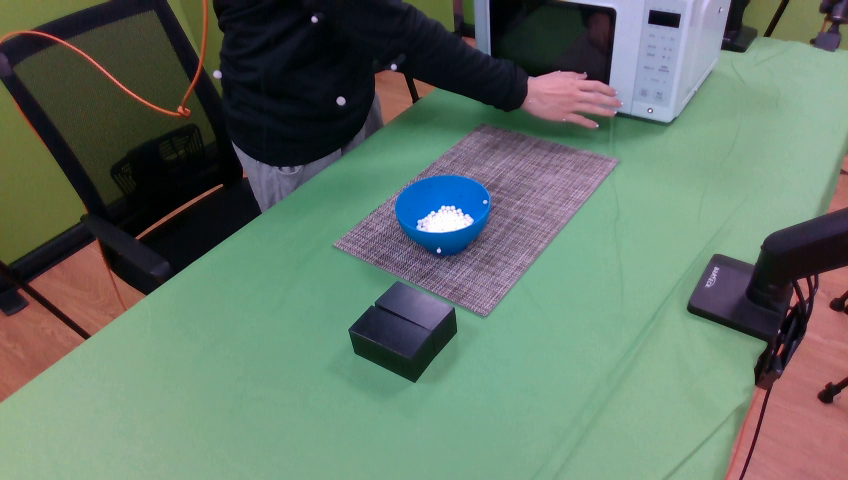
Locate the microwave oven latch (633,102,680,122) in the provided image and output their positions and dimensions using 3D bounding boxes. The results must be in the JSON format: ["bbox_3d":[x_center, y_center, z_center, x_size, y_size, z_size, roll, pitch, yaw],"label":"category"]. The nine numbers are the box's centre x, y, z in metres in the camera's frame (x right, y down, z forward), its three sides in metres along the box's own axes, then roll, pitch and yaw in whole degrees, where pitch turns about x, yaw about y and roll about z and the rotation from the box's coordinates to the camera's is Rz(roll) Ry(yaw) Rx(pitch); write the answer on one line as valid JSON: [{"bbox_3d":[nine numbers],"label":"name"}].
[{"bbox_3d":[0.443,-0.249,1.157,0.078,0.029,0.030,21,49,30],"label":"microwave oven latch"}]

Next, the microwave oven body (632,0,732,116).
[{"bbox_3d":[0.377,-0.462,1.267,0.438,0.261,0.327,21,48,30],"label":"microwave oven body"}]

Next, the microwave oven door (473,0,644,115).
[{"bbox_3d":[0.257,-0.396,1.199,0.353,0.245,0.039,21,48,29],"label":"microwave oven door"}]

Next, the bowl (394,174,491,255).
[{"bbox_3d":[0.032,-0.030,0.949,0.151,0.077,0.150,-4,40,4],"label":"bowl"}]
